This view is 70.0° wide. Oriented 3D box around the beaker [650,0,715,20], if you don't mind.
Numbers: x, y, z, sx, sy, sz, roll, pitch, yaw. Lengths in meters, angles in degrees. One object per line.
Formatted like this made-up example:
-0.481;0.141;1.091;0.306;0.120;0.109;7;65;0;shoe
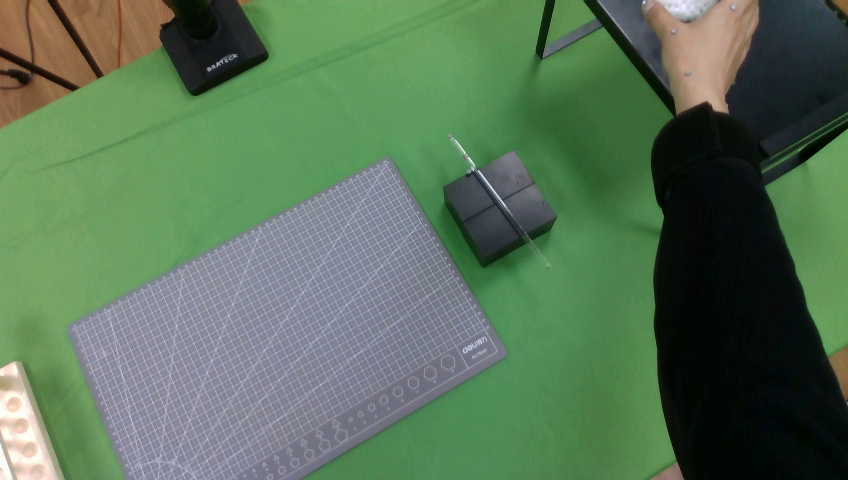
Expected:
0.262;-0.269;0.584;0.073;0.101;0.084;38;79;12;beaker

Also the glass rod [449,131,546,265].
0.085;-0.051;0.714;0.008;0.008;0.198;-32;76;-7;glass rod

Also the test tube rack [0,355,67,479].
-0.459;0.244;0.660;0.067;0.085;0.241;-29;75;-6;test tube rack
